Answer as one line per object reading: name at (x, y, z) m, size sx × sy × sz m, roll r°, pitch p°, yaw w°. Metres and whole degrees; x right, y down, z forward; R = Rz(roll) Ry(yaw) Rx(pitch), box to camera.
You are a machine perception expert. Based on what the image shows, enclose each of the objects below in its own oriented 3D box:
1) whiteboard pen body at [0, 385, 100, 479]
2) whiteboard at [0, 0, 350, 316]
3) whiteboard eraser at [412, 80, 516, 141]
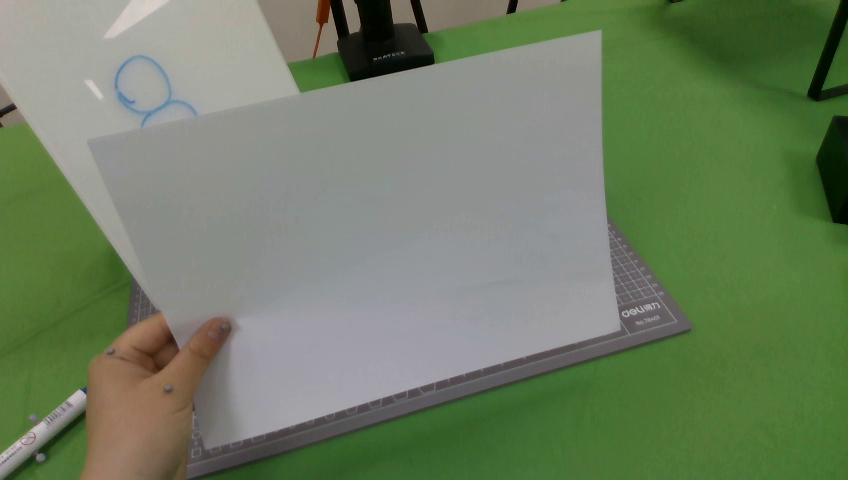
whiteboard pen body at (-0.302, 0.159, 0.443) m, size 0.017 × 0.017 × 0.140 m, roll 22°, pitch 50°, yaw 28°
whiteboard at (-0.247, -0.126, 0.575) m, size 0.217 × 0.308 × 0.142 m, roll -36°, pitch 30°, yaw -26°
whiteboard eraser at (0.046, -0.148, 0.701) m, size 0.113 × 0.042 × 0.055 m, roll -17°, pitch 46°, yaw -10°
